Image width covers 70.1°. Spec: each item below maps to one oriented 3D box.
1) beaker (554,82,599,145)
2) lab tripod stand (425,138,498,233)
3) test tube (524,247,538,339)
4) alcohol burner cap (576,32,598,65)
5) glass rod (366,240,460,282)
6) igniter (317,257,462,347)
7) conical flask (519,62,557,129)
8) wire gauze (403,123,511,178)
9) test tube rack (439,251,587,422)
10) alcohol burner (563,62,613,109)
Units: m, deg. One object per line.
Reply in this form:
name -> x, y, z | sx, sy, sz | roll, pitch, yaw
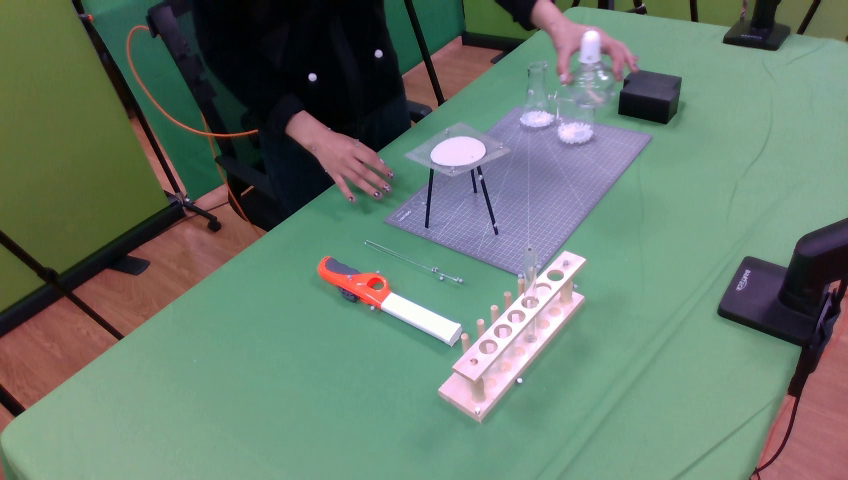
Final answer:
beaker -> 0.286, -0.236, 1.144 | 0.084, 0.101, 0.073 | -17, 40, -7
lab tripod stand -> 0.063, -0.091, 0.988 | 0.148, 0.132, 0.147 | -6, 38, 6
test tube -> 0.133, 0.070, 0.749 | 0.017, 0.151, 0.017 | -5, 38, 4
alcohol burner cap -> 0.256, -0.301, 0.947 | 0.034, 0.048, 0.033 | -6, 40, 5
glass rod -> -0.022, 0.032, 0.962 | 0.198, 0.008, 0.008 | 21, 49, 35
igniter -> -0.061, 0.086, 0.891 | 0.274, 0.025, 0.057 | 23, 59, 33
conical flask -> 0.225, -0.288, 1.199 | 0.075, 0.122, 0.075 | -6, 40, 6
wire gauze -> 0.051, -0.140, 0.943 | 0.125, 0.011, 0.120 | -31, 43, -24
test tube rack -> 0.118, 0.111, 0.780 | 0.066, 0.085, 0.243 | 26, 51, 35
alcohol burner -> 0.262, -0.273, 0.968 | 0.078, 0.119, 0.077 | -9, 32, 6
